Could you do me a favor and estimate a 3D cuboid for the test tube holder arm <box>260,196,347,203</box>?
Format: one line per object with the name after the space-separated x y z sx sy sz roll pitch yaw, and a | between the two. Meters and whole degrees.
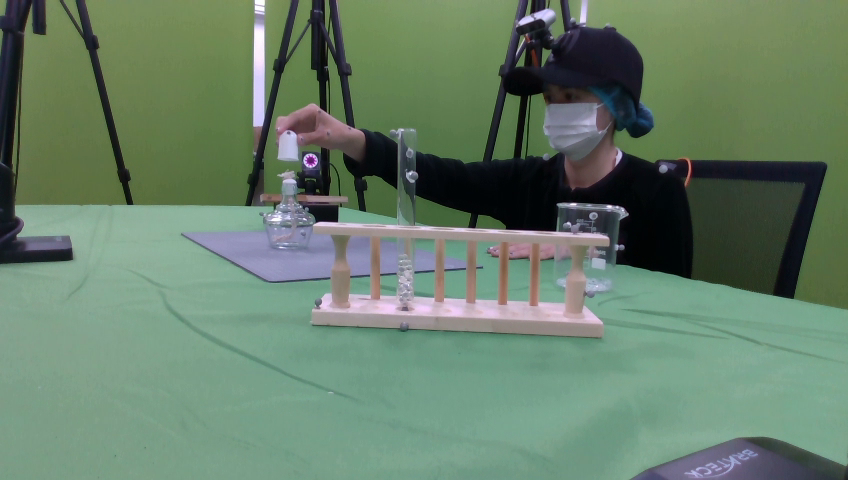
-0.239 -0.082 1.213 0.179 0.015 0.013 -1 0 -32 | test tube holder arm

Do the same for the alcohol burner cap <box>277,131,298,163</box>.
-0.207 -0.143 0.923 0.034 0.048 0.034 4 1 0 | alcohol burner cap

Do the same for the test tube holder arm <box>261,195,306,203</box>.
-0.275 -0.081 1.185 0.088 0.015 0.010 -1 0 -32 | test tube holder arm

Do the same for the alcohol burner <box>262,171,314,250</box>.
-0.205 -0.045 0.913 0.078 0.119 0.078 1 9 0 | alcohol burner

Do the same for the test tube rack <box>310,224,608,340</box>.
0.028 0.032 0.528 0.242 0.085 0.067 3 7 0 | test tube rack

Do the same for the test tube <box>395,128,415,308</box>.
-0.016 -0.016 0.502 0.017 0.150 0.017 1 10 0 | test tube

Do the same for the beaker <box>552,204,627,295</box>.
0.191 0.010 0.708 0.083 0.100 0.074 8 9 33 | beaker
